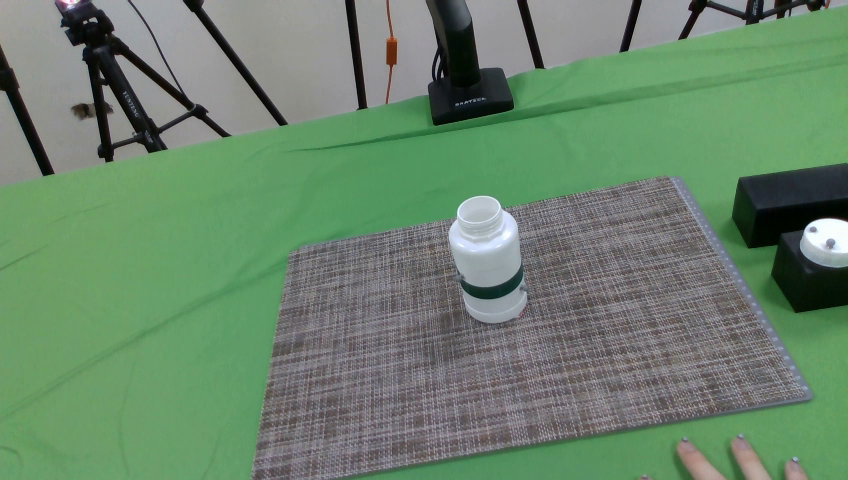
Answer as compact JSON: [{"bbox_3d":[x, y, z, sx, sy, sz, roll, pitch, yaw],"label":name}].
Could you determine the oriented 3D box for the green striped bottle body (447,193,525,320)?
[{"bbox_3d":[0.058,0.014,0.561,0.063,0.120,0.062,-8,42,8],"label":"green striped bottle body"}]

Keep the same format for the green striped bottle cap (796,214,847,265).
[{"bbox_3d":[0.337,-0.001,0.503,0.044,0.020,0.044,-6,42,6],"label":"green striped bottle cap"}]
